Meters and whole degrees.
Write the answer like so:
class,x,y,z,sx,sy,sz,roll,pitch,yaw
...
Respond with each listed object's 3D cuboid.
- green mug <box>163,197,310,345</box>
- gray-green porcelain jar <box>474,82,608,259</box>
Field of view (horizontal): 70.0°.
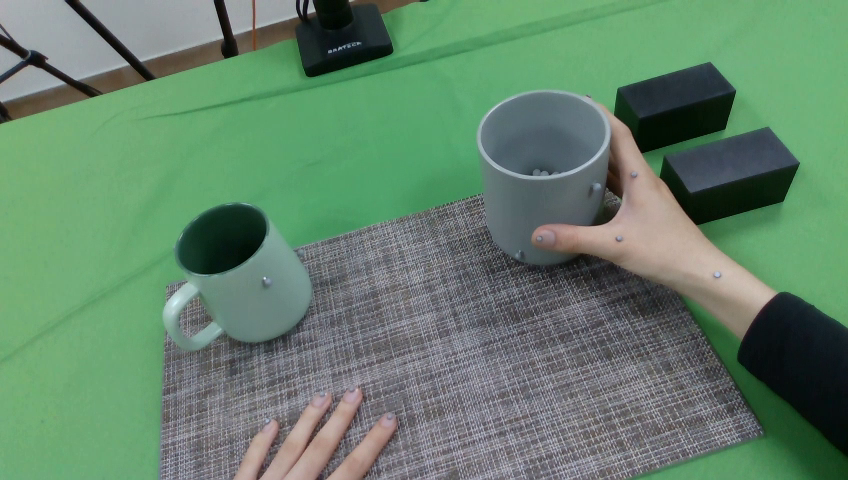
class,x,y,z,sx,sy,sz,roll,pitch,yaw
green mug,-0.167,0.037,0.525,0.092,0.106,0.125,27,63,28
gray-green porcelain jar,0.101,-0.054,0.526,0.106,0.128,0.105,-5,52,7
